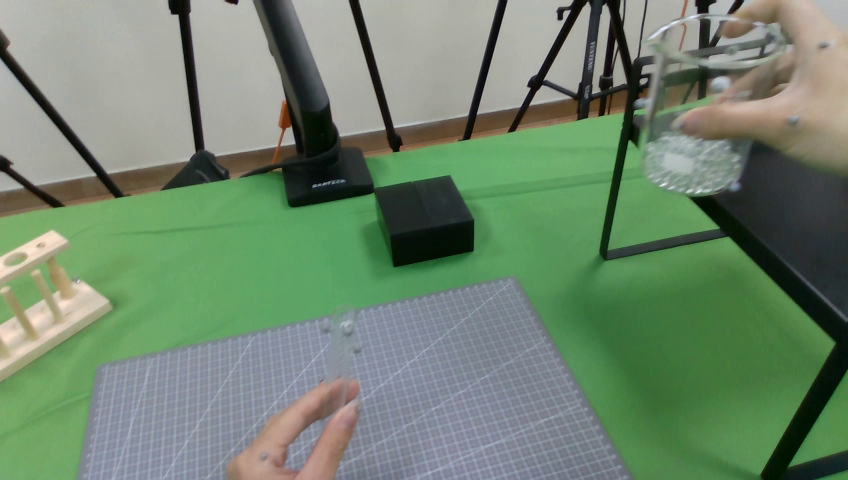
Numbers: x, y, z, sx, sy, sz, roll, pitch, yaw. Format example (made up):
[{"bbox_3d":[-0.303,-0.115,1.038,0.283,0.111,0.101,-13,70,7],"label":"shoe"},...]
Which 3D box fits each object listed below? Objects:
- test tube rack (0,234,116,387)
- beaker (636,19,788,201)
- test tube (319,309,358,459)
[{"bbox_3d":[-0.445,0.099,0.596,0.066,0.086,0.242,24,46,29],"label":"test tube rack"},{"bbox_3d":[0.181,-0.083,0.402,0.083,0.101,0.073,11,43,19],"label":"beaker"},{"bbox_3d":[-0.061,0.106,0.423,0.017,0.151,0.017,8,37,-5],"label":"test tube"}]
